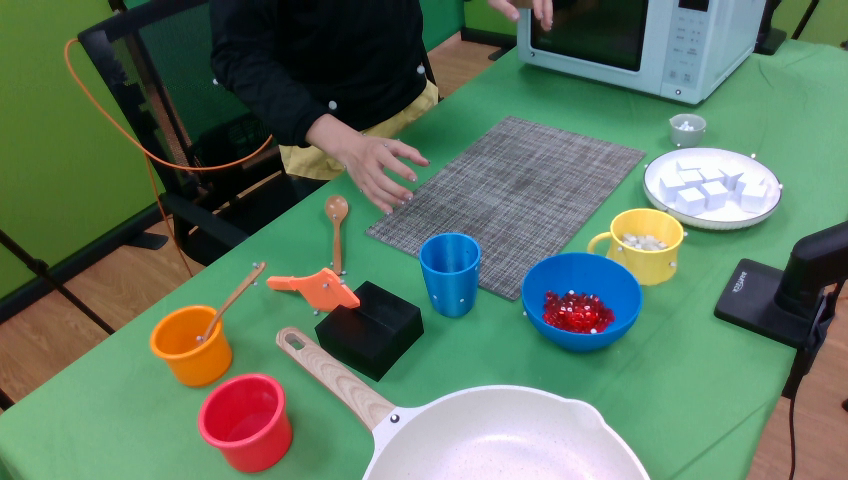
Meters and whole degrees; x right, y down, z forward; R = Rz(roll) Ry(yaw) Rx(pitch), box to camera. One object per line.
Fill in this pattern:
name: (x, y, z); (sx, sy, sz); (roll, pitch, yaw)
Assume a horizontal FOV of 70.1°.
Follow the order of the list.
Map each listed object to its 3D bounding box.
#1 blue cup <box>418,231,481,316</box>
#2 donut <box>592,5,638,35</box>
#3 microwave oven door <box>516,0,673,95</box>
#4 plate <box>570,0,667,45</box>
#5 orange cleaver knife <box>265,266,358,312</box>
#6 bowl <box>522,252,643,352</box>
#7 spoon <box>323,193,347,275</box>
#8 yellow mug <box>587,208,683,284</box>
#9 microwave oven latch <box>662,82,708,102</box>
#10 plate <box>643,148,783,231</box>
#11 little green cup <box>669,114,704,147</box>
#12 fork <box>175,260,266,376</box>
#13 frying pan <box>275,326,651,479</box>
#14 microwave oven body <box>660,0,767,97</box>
blue cup: (0.039, 0.053, 0.843); (0.092, 0.100, 0.092); (-4, 43, 4)
donut: (0.428, -0.492, 1.352); (0.099, 0.048, 0.098); (-6, 41, 6)
microwave oven door: (0.344, -0.458, 1.256); (0.353, 0.245, 0.039); (26, 51, 33)
plate: (0.436, -0.489, 1.368); (0.209, 0.038, 0.208); (-5, 40, 5)
orange cleaver knife: (-0.164, 0.073, 0.864); (0.210, 0.077, 0.012); (-6, 30, 50)
bowl: (0.204, 0.093, 0.792); (0.151, 0.077, 0.150); (-4, 40, 4)
spoon: (-0.148, -0.014, 1.008); (0.042, 0.022, 0.192); (1, 40, -9)
yellow mug: (0.305, 0.009, 0.884); (0.131, 0.064, 0.099); (-4, 40, 5)
microwave oven latch: (0.518, -0.299, 1.203); (0.078, 0.029, 0.030); (30, 54, 36)
plate: (0.464, -0.080, 0.986); (0.207, 0.039, 0.206); (-4, 41, 4)
little green cup: (0.485, -0.203, 1.123); (0.061, 0.039, 0.061); (-5, 40, 5)
fork: (-0.268, 0.103, 0.792); (0.207, 0.019, 0.028); (-51, 41, 16)
frying pan: (0.004, 0.229, 0.641); (0.484, 0.103, 0.308); (34, 54, 28)
microwave oven body: (0.473, -0.516, 1.313); (0.438, 0.261, 0.327); (26, 51, 34)
